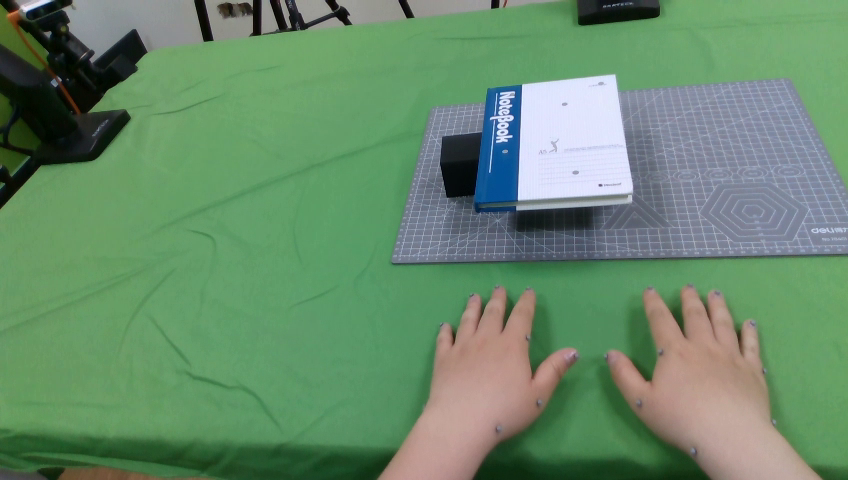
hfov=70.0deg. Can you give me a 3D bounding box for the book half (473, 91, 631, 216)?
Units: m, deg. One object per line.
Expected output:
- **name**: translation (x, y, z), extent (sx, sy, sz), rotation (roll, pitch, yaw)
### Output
- **book half**: translation (0.133, -0.104, 0.642), extent (0.148, 0.016, 0.208), rotation (-2, 44, 13)

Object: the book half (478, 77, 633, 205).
- **book half**: translation (0.135, -0.110, 0.637), extent (0.143, 0.007, 0.208), rotation (-2, 44, 13)
